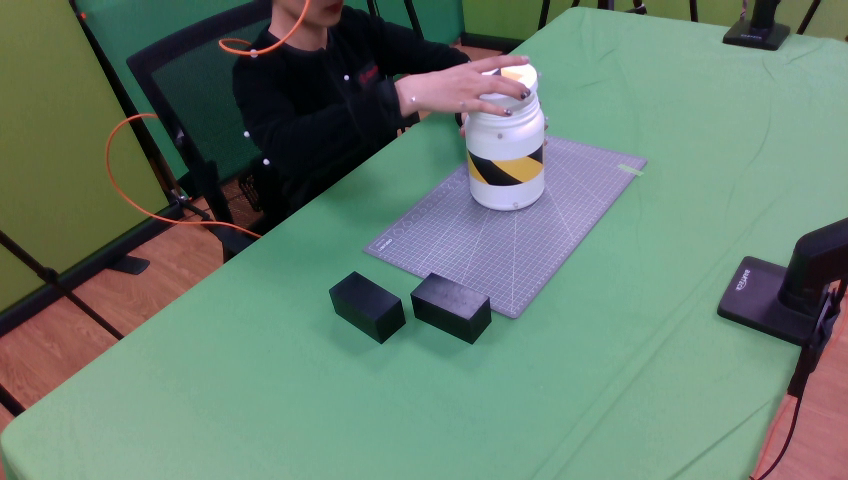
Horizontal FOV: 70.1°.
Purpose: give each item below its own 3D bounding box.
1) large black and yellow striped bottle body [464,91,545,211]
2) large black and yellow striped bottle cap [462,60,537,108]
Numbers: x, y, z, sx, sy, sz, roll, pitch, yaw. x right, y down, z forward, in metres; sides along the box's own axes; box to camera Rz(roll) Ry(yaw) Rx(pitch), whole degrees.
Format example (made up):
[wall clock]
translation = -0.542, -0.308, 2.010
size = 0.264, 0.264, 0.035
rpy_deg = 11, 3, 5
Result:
[large black and yellow striped bottle body]
translation = 0.136, -0.157, 1.011
size = 0.131, 0.185, 0.130
rpy_deg = -6, 40, 5
[large black and yellow striped bottle cap]
translation = 0.116, -0.243, 0.935
size = 0.115, 0.019, 0.114
rpy_deg = -7, 44, 7
